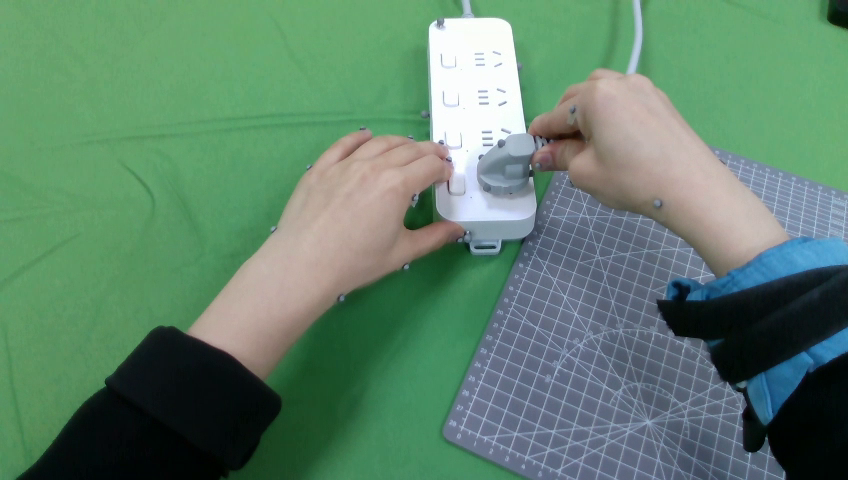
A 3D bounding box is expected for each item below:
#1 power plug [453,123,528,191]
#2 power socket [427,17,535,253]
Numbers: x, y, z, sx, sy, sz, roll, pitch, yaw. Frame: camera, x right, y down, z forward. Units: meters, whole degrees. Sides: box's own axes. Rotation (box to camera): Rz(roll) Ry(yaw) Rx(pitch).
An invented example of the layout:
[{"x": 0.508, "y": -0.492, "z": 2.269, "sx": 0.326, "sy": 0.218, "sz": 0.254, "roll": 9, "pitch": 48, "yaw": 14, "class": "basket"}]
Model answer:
[{"x": 0.038, "y": -0.061, "z": 0.422, "sx": 0.072, "sy": 0.035, "sz": 0.052, "roll": 18, "pitch": 65, "yaw": 42, "class": "power plug"}, {"x": 0.039, "y": -0.094, "z": 0.468, "sx": 0.072, "sy": 0.033, "sz": 0.224, "roll": 0, "pitch": 58, "yaw": -2, "class": "power socket"}]
